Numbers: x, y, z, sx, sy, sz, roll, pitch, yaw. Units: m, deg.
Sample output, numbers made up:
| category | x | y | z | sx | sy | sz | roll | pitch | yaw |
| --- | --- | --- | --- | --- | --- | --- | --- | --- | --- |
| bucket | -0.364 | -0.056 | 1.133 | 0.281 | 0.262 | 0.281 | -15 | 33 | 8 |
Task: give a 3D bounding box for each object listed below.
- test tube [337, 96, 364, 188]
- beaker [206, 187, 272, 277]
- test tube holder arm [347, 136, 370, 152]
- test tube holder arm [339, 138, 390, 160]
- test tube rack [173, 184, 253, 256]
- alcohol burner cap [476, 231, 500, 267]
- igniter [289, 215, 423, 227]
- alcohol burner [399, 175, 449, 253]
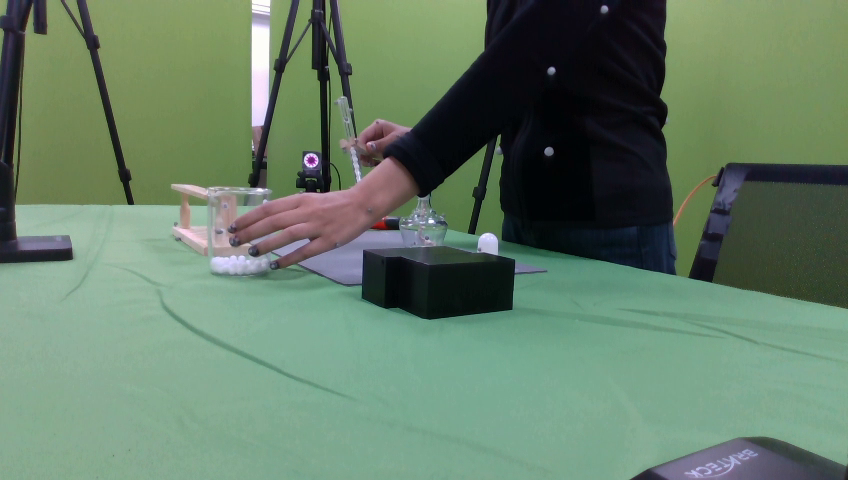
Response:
| category | x | y | z | sx | sy | sz | roll | pitch | yaw |
| --- | --- | --- | --- | --- | --- | --- | --- | --- | --- |
| test tube | -0.116 | -0.156 | 0.959 | 0.017 | 0.150 | 0.017 | -12 | -4 | -1 |
| beaker | -0.219 | -0.010 | 0.709 | 0.073 | 0.100 | 0.084 | 6 | 9 | 29 |
| test tube holder arm | -0.105 | -0.154 | 0.980 | 0.010 | 0.015 | 0.088 | -12 | -3 | 11 |
| test tube holder arm | -0.098 | -0.153 | 1.024 | 0.013 | 0.015 | 0.179 | -12 | -3 | 19 |
| test tube rack | -0.329 | -0.036 | 0.927 | 0.067 | 0.085 | 0.241 | -2 | 8 | -32 |
| alcohol burner cap | 0.088 | 0.012 | 0.830 | 0.034 | 0.048 | 0.034 | 2 | 6 | 0 |
| igniter | -0.133 | -0.038 | 1.231 | 0.278 | 0.025 | 0.057 | -1 | -2 | -26 |
| alcohol burner | 0.000 | -0.041 | 0.937 | 0.078 | 0.119 | 0.078 | 1 | 8 | 0 |
